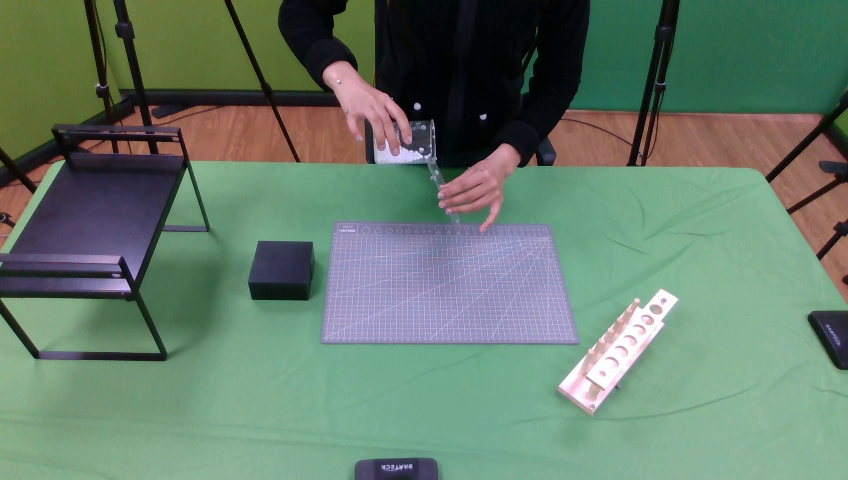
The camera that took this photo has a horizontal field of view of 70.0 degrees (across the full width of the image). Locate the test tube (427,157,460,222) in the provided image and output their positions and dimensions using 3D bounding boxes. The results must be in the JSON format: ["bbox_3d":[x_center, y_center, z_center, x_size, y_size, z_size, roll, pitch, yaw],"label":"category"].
[{"bbox_3d":[0.036,-0.086,1.074,0.017,0.151,0.017,-14,43,14],"label":"test tube"}]

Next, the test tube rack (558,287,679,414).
[{"bbox_3d":[0.326,0.170,1.009,0.066,0.085,0.242,35,54,26],"label":"test tube rack"}]

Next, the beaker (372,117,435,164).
[{"bbox_3d":[-0.034,-0.160,0.995,0.100,0.084,0.073,-2,48,-3],"label":"beaker"}]
